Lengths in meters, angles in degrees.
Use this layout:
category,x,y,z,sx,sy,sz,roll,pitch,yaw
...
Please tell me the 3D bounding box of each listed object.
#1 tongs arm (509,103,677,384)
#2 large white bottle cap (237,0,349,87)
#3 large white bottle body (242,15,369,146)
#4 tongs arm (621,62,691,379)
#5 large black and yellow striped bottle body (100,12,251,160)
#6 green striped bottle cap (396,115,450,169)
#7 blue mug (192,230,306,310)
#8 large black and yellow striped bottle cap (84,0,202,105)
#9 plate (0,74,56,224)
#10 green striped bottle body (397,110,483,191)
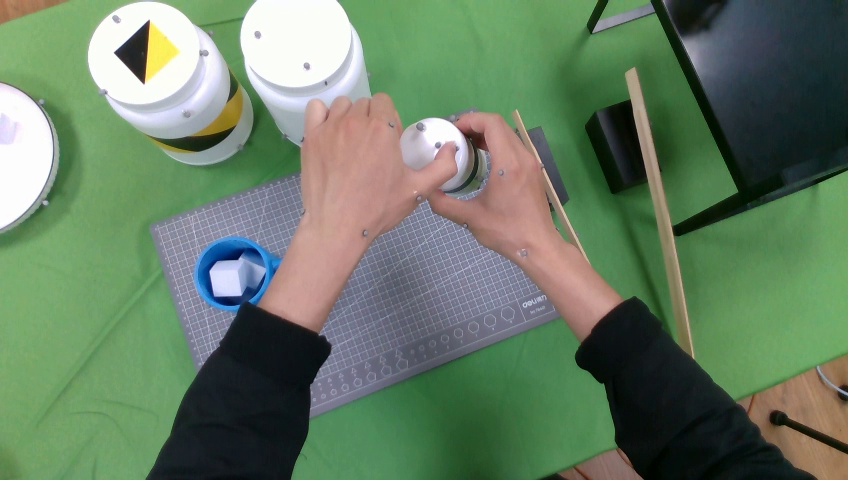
category,x,y,z,sx,sy,sz,roll,pitch,yaw
tongs arm,0.204,0.005,0.729,0.051,0.026,0.385,-25,94,-8
large white bottle cap,-0.136,-0.216,0.631,0.115,0.018,0.114,0,80,-2
large white bottle body,-0.136,-0.200,0.715,0.131,0.185,0.130,0,80,-1
tongs arm,0.280,-0.023,0.738,0.028,0.027,0.387,-12,93,-12
large black and yellow striped bottle body,-0.290,-0.181,0.708,0.131,0.184,0.130,0,80,-1
green striped bottle cap,-0.001,-0.083,0.517,0.044,0.020,0.044,0,90,18
blue mug,-0.197,0.034,0.714,0.116,0.106,0.082,-13,81,-4
large black and yellow striped bottle cap,-0.290,-0.197,0.626,0.115,0.019,0.114,0,81,-3
plate,-0.566,-0.110,0.765,0.208,0.039,0.207,0,81,-1
green striped bottle body,0.015,-0.083,0.570,0.063,0.119,0.063,0,89,16
